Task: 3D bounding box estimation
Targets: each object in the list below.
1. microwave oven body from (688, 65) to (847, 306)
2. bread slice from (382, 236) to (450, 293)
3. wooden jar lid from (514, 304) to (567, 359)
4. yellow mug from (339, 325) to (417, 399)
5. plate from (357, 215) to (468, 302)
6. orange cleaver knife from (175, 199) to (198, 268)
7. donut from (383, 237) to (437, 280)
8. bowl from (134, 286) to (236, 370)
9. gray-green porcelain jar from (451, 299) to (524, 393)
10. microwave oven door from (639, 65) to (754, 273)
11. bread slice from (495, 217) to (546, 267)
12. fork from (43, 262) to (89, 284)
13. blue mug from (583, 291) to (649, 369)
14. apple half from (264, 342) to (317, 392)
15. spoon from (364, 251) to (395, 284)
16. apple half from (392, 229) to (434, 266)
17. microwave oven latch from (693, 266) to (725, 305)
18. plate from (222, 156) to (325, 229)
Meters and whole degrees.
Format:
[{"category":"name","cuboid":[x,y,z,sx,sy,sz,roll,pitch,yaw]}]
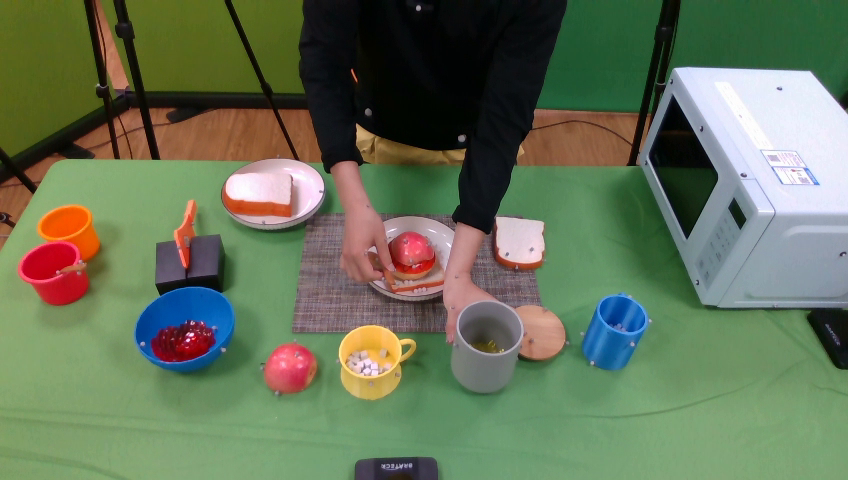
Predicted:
[{"category":"microwave oven body","cuboid":[0.669,-0.111,1.176,0.326,0.261,0.439,0,46,-3]},{"category":"bread slice","cuboid":[-0.025,0.040,1.142,0.107,0.018,0.133,-13,49,-17]},{"category":"wooden jar lid","cuboid":[0.192,0.161,1.052,0.108,0.021,0.107,2,50,-3]},{"category":"yellow mug","cuboid":[-0.072,0.190,0.978,0.131,0.064,0.099,-17,50,-20]},{"category":"plate","cuboid":[-0.022,0.037,1.141,0.208,0.039,0.206,2,46,-2]},{"category":"orange cleaver knife","cuboid":[-0.438,-0.017,1.138,0.012,0.077,0.210,-14,27,-7]},{"category":"donut","cuboid":[-0.025,0.029,1.110,0.099,0.048,0.098,2,47,-2]},{"category":"bowl","cuboid":[-0.377,0.155,0.981,0.151,0.077,0.150,2,46,-2]},{"category":"gray-green porcelain jar","cuboid":[0.097,0.174,0.964,0.106,0.127,0.105,2,46,-2]},{"category":"microwave oven door","cuboid":[0.522,-0.147,1.193,0.039,0.245,0.353,0,47,-3]},{"category":"bread slice","cuboid":[0.194,0.002,1.205,0.105,0.019,0.131,5,44,3]},{"category":"fork","cuboid":[-0.599,0.053,1.013,0.207,0.019,0.028,-14,30,45]},{"category":"blue mug","cuboid":[0.324,0.142,1.023,0.082,0.106,0.116,15,47,11]},{"category":"apple half","cuboid":[-0.214,0.198,0.970,0.074,0.053,0.080,19,48,10]},{"category":"spoon","cuboid":[-0.075,0.047,1.059,0.042,0.021,0.193,29,0,-18]},{"category":"apple half","cuboid":[-0.020,0.005,1.083,0.081,0.033,0.081,6,48,-7]},{"category":"microwave oven latch","cuboid":[0.523,0.082,1.115,0.030,0.029,0.078,3,46,0]},{"category":"plate","cuboid":[-0.308,-0.095,1.251,0.209,0.038,0.208,2,47,-2]}]
